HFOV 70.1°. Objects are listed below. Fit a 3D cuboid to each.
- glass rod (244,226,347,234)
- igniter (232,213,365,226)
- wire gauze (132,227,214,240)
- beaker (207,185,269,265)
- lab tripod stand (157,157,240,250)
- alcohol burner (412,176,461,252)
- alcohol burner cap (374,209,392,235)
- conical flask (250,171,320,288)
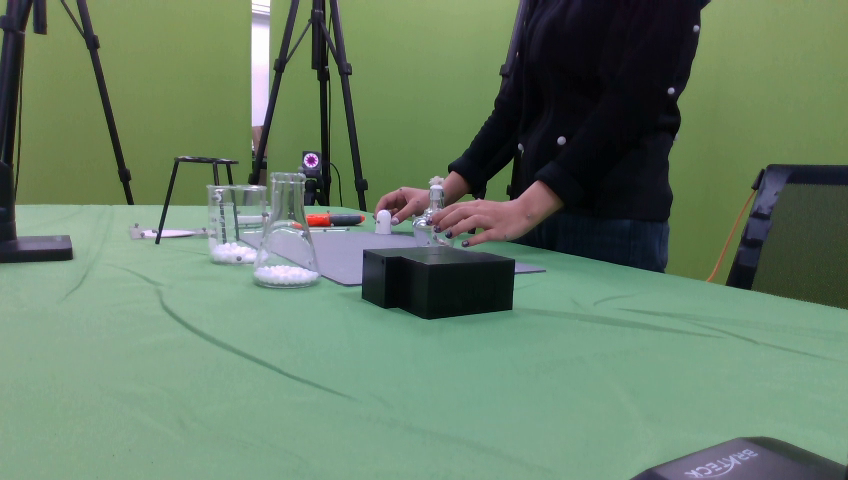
[{"bbox_3d":[-0.239,-0.019,1.145,0.201,0.008,0.008,-4,9,-29],"label":"glass rod"},{"bbox_3d":[-0.246,-0.042,1.223,0.278,0.025,0.057,-3,-1,-36],"label":"igniter"},{"bbox_3d":[-0.425,-0.013,1.018,0.122,0.011,0.124,-1,6,-28],"label":"wire gauze"},{"bbox_3d":[-0.244,-0.021,0.784,0.083,0.100,0.074,6,8,30],"label":"beaker"},{"bbox_3d":[-0.322,-0.057,0.905,0.148,0.131,0.148,4,7,0],"label":"lab tripod stand"},{"bbox_3d":[0.020,-0.041,0.948,0.078,0.119,0.078,0,7,0],"label":"alcohol burner"},{"bbox_3d":[-0.077,-0.036,1.150,0.034,0.048,0.034,5,10,-1],"label":"alcohol burner cap"},{"bbox_3d":[-0.150,-0.013,0.658,0.075,0.122,0.075,2,7,0],"label":"conical flask"}]
